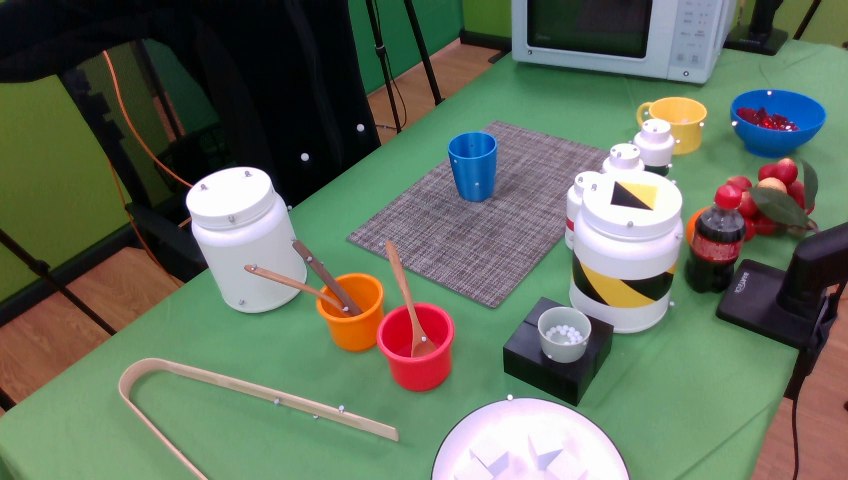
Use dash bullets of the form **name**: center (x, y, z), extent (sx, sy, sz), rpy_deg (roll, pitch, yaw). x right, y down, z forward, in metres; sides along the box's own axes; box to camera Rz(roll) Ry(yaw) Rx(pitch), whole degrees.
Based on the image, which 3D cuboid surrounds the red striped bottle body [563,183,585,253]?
- **red striped bottle body**: center (0.246, -0.041, 0.910), extent (0.063, 0.120, 0.062), rpy_deg (-2, 38, 2)

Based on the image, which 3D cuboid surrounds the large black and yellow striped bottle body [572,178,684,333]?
- **large black and yellow striped bottle body**: center (0.262, 0.017, 0.788), extent (0.131, 0.185, 0.130), rpy_deg (-5, 40, 4)

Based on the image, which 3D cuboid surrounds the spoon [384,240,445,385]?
- **spoon**: center (-0.016, 0.090, 0.775), extent (0.042, 0.021, 0.193), rpy_deg (-17, 85, -11)

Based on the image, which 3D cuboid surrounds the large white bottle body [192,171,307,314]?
- **large white bottle body**: center (-0.256, 0.003, 0.885), extent (0.130, 0.185, 0.130), rpy_deg (-5, 40, 4)

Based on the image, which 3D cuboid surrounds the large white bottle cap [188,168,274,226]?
- **large white bottle cap**: center (-0.265, -0.061, 0.831), extent (0.115, 0.018, 0.114), rpy_deg (-4, 40, 4)

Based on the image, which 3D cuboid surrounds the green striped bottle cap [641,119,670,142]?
- **green striped bottle cap**: center (0.371, -0.175, 0.968), extent (0.044, 0.020, 0.044), rpy_deg (-5, 41, 5)

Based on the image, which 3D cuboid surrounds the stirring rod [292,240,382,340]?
- **stirring rod**: center (-0.119, 0.068, 0.826), extent (0.176, 0.006, 0.014), rpy_deg (49, 58, -4)

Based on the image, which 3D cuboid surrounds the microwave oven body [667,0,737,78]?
- **microwave oven body**: center (0.462, -0.552, 1.369), extent (0.439, 0.261, 0.326), rpy_deg (15, 46, 26)

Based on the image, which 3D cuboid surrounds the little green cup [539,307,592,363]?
- **little green cup**: center (0.168, 0.115, 0.721), extent (0.061, 0.039, 0.061), rpy_deg (-4, 42, 4)

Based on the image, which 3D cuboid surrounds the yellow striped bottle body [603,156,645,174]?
- **yellow striped bottle body**: center (0.313, -0.089, 0.956), extent (0.063, 0.121, 0.062), rpy_deg (-4, 40, 4)

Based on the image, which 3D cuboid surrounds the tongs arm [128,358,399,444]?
- **tongs arm**: center (-0.213, 0.205, 0.755), extent (0.382, 0.026, 0.051), rpy_deg (12, 46, 23)

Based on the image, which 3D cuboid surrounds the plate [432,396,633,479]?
- **plate**: center (0.112, 0.261, 0.634), extent (0.209, 0.038, 0.208), rpy_deg (-5, 40, 4)

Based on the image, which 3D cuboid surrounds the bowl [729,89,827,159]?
- **bowl**: center (0.615, -0.197, 1.069), extent (0.151, 0.077, 0.150), rpy_deg (-5, 40, 5)

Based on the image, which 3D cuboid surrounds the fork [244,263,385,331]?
- **fork**: center (-0.142, 0.077, 0.807), extent (0.209, 0.018, 0.028), rpy_deg (30, 41, -24)

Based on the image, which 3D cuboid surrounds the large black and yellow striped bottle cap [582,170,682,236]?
- **large black and yellow striped bottle cap**: center (0.252, -0.048, 0.735), extent (0.115, 0.019, 0.114), rpy_deg (-3, 40, 3)

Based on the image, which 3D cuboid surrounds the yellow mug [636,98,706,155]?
- **yellow mug**: center (0.453, -0.217, 1.128), extent (0.100, 0.064, 0.129), rpy_deg (-34, 46, -27)

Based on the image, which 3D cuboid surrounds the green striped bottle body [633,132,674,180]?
- **green striped bottle body**: center (0.376, -0.135, 1.001), extent (0.063, 0.120, 0.063), rpy_deg (-5, 40, 5)

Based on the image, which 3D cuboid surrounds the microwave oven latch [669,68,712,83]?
- **microwave oven latch**: center (0.556, -0.348, 1.263), extent (0.078, 0.029, 0.030), rpy_deg (15, 46, 26)

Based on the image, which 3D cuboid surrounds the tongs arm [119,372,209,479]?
- **tongs arm**: center (-0.258, 0.257, 0.700), extent (0.384, 0.028, 0.028), rpy_deg (24, 55, 34)

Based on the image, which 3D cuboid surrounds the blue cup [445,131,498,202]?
- **blue cup**: center (0.087, -0.122, 1.040), extent (0.092, 0.100, 0.092), rpy_deg (-5, 42, 5)

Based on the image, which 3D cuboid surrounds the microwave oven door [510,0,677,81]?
- **microwave oven door**: center (0.354, -0.478, 1.290), extent (0.353, 0.245, 0.039), rpy_deg (15, 45, 25)

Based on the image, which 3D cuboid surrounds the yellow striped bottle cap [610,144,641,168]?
- **yellow striped bottle cap**: center (0.307, -0.128, 0.923), extent (0.044, 0.019, 0.044), rpy_deg (-5, 40, 5)

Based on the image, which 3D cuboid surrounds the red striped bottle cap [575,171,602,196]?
- **red striped bottle cap**: center (0.242, -0.081, 0.876), extent (0.044, 0.018, 0.044), rpy_deg (-5, 43, 5)
